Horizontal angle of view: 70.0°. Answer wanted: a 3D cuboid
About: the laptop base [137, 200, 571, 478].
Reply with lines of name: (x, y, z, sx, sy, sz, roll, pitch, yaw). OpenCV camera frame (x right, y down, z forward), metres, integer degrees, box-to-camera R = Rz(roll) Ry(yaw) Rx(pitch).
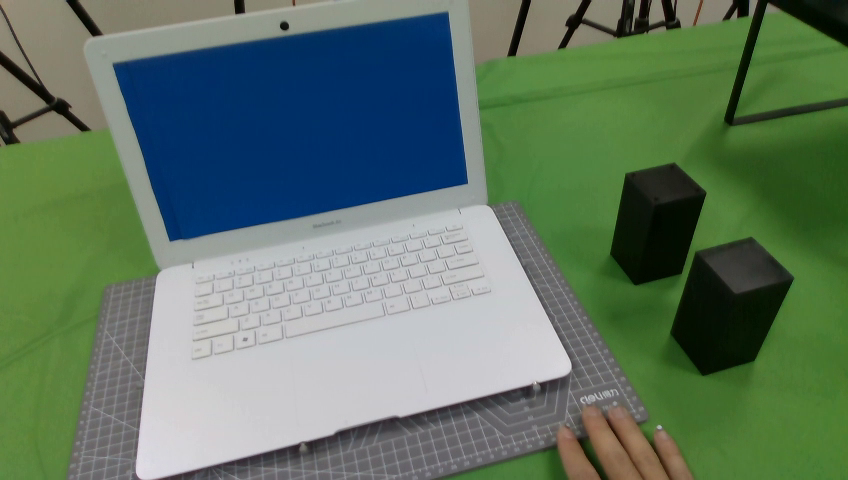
laptop base: (-0.072, 0.072, 0.563, 0.355, 0.023, 0.233, -12, 45, -8)

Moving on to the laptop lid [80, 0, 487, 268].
laptop lid: (-0.117, -0.109, 0.600, 0.357, 0.243, 0.013, -14, 24, -8)
